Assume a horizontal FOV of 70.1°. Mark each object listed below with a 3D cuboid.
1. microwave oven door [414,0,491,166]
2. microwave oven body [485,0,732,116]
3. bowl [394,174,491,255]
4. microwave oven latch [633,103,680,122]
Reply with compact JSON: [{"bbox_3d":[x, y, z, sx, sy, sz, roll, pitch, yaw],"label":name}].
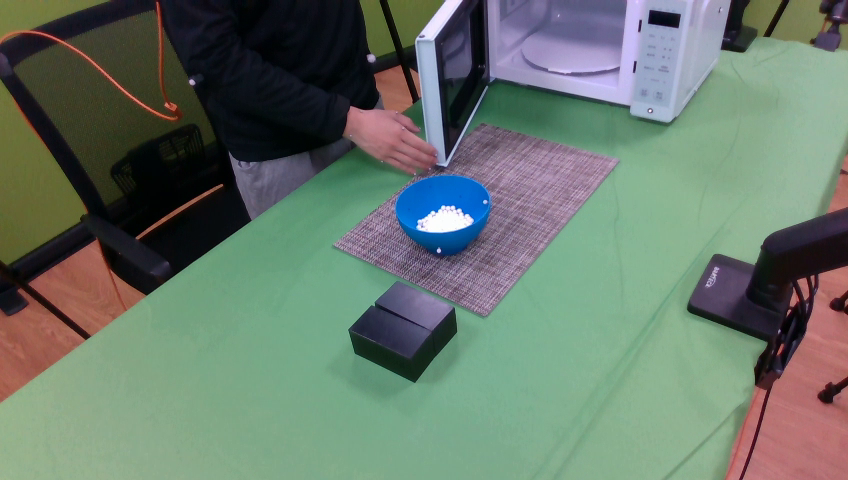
[{"bbox_3d":[0.066,-0.341,1.163,0.039,0.245,0.355,8,43,18],"label":"microwave oven door"},{"bbox_3d":[0.377,-0.462,1.267,0.438,0.261,0.327,21,48,30],"label":"microwave oven body"},{"bbox_3d":[0.032,-0.029,0.949,0.151,0.077,0.150,-4,40,4],"label":"bowl"},{"bbox_3d":[0.443,-0.249,1.157,0.078,0.029,0.030,21,48,30],"label":"microwave oven latch"}]
